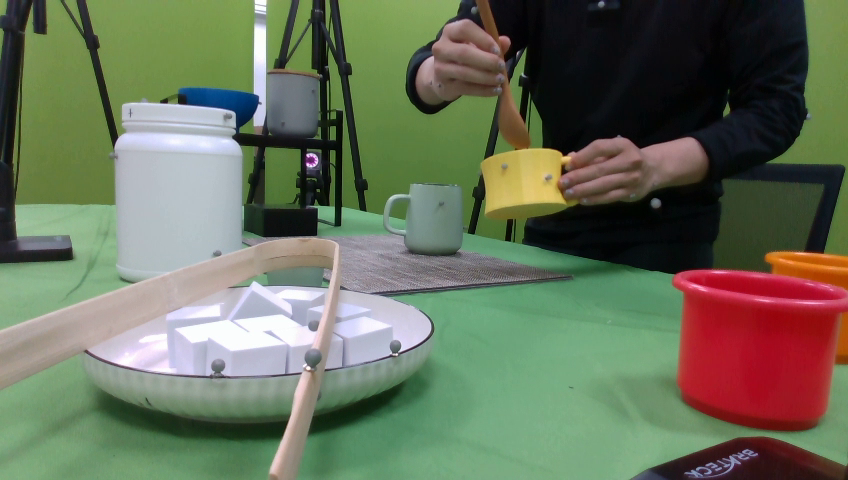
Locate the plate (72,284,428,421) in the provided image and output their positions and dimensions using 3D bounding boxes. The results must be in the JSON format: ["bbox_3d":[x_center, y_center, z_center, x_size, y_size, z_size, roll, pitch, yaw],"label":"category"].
[{"bbox_3d":[-0.102,0.067,0.381,0.208,0.039,0.207,2,7,0],"label":"plate"}]

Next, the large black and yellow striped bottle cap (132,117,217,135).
[{"bbox_3d":[-0.359,-0.164,0.875,0.115,0.019,0.115,2,6,0],"label":"large black and yellow striped bottle cap"}]

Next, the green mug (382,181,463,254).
[{"bbox_3d":[-0.001,-0.036,0.922,0.126,0.105,0.092,0,8,-16],"label":"green mug"}]

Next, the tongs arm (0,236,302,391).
[{"bbox_3d":[-0.157,0.038,0.347,0.028,0.028,0.388,-2,8,11],"label":"tongs arm"}]

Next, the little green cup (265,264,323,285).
[{"bbox_3d":[-0.134,0.034,0.628,0.061,0.038,0.061,3,7,0],"label":"little green cup"}]

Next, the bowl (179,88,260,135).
[{"bbox_3d":[-0.400,-0.248,1.188,0.151,0.077,0.151,3,6,0],"label":"bowl"}]

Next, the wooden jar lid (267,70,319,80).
[{"bbox_3d":[-0.275,-0.339,1.271,0.108,0.020,0.108,5,6,0],"label":"wooden jar lid"}]

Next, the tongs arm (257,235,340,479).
[{"bbox_3d":[-0.074,0.040,0.345,0.051,0.026,0.384,-1,10,-3],"label":"tongs arm"}]

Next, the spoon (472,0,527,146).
[{"bbox_3d":[0.080,-0.189,0.668,0.022,0.194,0.041,-33,30,-29],"label":"spoon"}]

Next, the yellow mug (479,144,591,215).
[{"bbox_3d":[0.133,-0.072,0.727,0.130,0.064,0.100,-6,-9,12],"label":"yellow mug"}]

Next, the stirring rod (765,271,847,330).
[{"bbox_3d":[0.352,0.020,0.481,0.176,0.006,0.014,-40,-8,17],"label":"stirring rod"}]

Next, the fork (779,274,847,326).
[{"bbox_3d":[0.332,0.018,0.443,0.028,0.018,0.207,-3,-35,-16],"label":"fork"}]

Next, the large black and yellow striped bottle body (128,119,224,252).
[{"bbox_3d":[-0.361,-0.081,0.887,0.131,0.184,0.130,2,8,0],"label":"large black and yellow striped bottle body"}]

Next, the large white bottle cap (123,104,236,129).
[{"bbox_3d":[-0.266,-0.134,0.663,0.115,0.018,0.115,3,7,0],"label":"large white bottle cap"}]

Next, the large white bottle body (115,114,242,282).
[{"bbox_3d":[-0.270,-0.051,0.673,0.131,0.184,0.130,2,8,0],"label":"large white bottle body"}]

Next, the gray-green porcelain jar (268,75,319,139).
[{"bbox_3d":[-0.277,-0.279,1.280,0.106,0.126,0.106,2,8,0],"label":"gray-green porcelain jar"}]
